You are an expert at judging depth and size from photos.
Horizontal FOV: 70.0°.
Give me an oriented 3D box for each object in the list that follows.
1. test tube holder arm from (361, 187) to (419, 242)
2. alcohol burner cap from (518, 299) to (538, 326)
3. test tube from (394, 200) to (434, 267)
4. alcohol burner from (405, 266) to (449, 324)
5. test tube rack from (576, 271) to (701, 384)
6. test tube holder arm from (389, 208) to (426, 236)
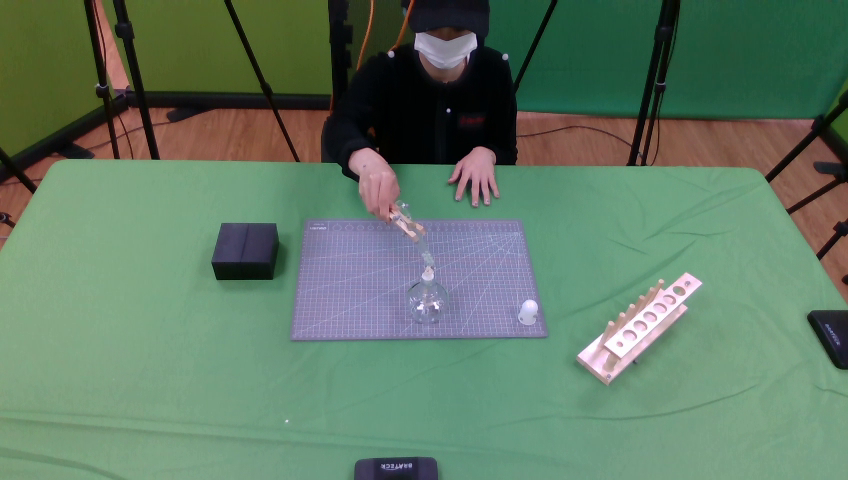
[{"bbox_3d":[-0.059,-0.044,0.973,0.013,0.015,0.177,-37,43,-12],"label":"test tube holder arm"},{"bbox_3d":[0.186,0.126,1.072,0.034,0.048,0.033,1,45,-1],"label":"alcohol burner cap"},{"bbox_3d":[-0.013,-0.007,0.936,0.017,0.151,0.017,-13,46,14],"label":"test tube"},{"bbox_3d":[0.005,0.089,1.043,0.078,0.120,0.077,1,45,-1],"label":"alcohol burner"},{"bbox_3d":[0.373,0.138,1.048,0.242,0.085,0.066,-31,56,-29],"label":"test tube rack"},{"bbox_3d":[-0.029,-0.029,0.943,0.010,0.015,0.087,-43,45,-18],"label":"test tube holder arm"}]
